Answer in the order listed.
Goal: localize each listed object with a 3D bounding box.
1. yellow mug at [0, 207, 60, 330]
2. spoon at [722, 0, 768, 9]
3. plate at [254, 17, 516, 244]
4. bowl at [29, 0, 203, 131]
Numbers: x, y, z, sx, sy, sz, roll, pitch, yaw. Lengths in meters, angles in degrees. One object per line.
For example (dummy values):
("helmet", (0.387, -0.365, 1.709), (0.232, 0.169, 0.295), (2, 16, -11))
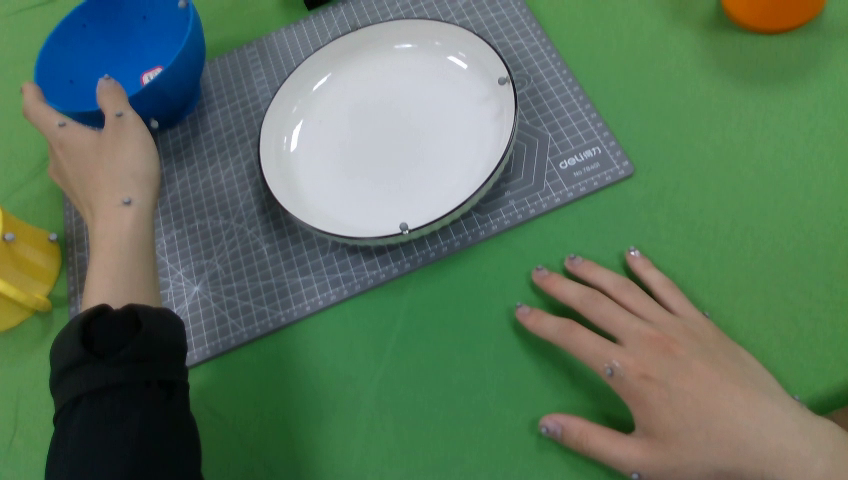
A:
("yellow mug", (-0.354, 0.024, 0.490), (0.130, 0.064, 0.099), (24, 71, 22))
("spoon", (0.293, -0.235, 0.415), (0.022, 0.194, 0.041), (3, 59, -35))
("plate", (-0.030, -0.087, 0.479), (0.209, 0.038, 0.207), (-5, 63, 11))
("bowl", (-0.257, -0.151, 0.544), (0.151, 0.077, 0.150), (-6, 63, 11))
